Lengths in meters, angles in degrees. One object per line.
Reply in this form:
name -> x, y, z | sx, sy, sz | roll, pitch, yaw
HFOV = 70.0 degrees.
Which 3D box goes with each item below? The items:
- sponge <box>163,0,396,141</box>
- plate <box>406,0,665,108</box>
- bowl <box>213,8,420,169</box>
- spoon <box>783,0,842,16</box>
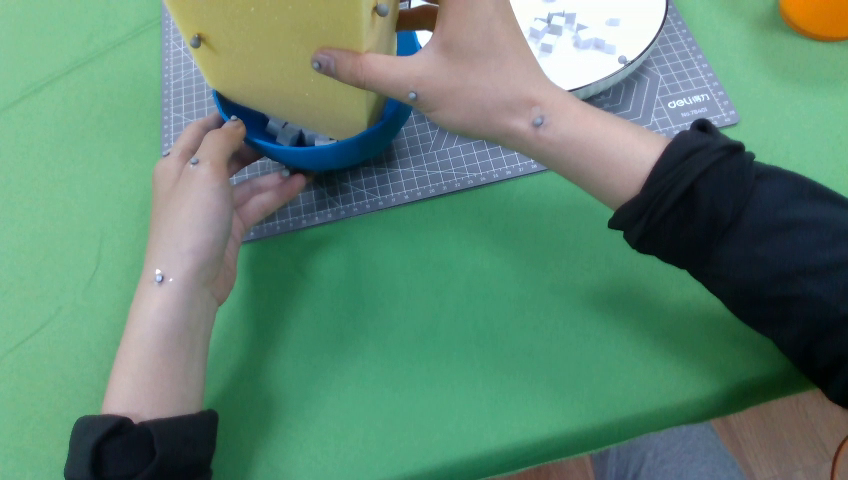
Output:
sponge -> -0.079, -0.137, 0.344 | 0.118, 0.207, 0.060 | 19, 73, 0
plate -> 0.089, -0.190, 0.507 | 0.209, 0.038, 0.207 | -3, 63, 6
bowl -> -0.073, -0.107, 0.460 | 0.151, 0.077, 0.150 | -3, 62, 6
spoon -> 0.359, -0.237, 0.439 | 0.022, 0.194, 0.041 | 4, 57, -42
